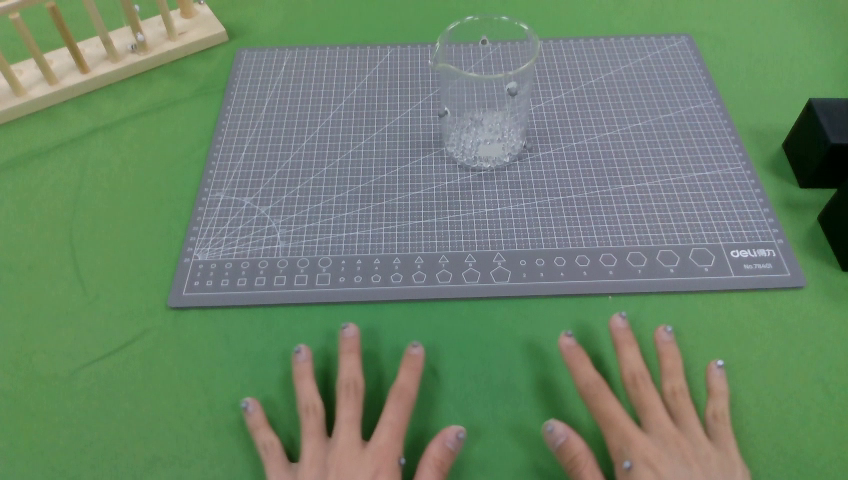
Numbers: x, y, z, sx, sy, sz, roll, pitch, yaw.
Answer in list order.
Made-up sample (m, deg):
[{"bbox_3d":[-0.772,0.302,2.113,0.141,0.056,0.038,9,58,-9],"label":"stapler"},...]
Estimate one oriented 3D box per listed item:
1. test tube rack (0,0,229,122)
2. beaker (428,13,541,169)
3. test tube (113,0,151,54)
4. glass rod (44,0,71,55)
[{"bbox_3d":[-0.318,-0.197,0.560,0.242,0.086,0.066,-28,57,-18],"label":"test tube rack"},{"bbox_3d":[0.045,-0.112,0.476,0.084,0.101,0.073,-16,54,-9],"label":"beaker"},{"bbox_3d":[-0.272,-0.231,0.529,0.017,0.151,0.017,0,50,0],"label":"test tube"},{"bbox_3d":[-0.343,-0.250,0.518,0.008,0.201,0.008,0,46,1],"label":"glass rod"}]
